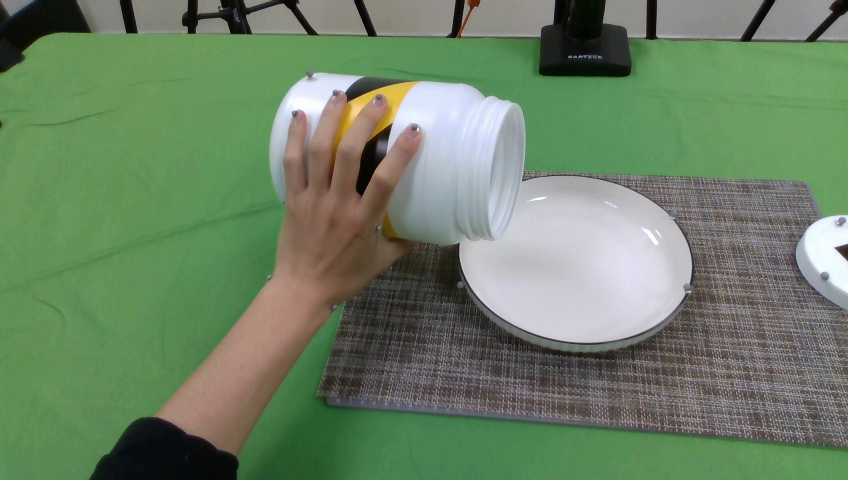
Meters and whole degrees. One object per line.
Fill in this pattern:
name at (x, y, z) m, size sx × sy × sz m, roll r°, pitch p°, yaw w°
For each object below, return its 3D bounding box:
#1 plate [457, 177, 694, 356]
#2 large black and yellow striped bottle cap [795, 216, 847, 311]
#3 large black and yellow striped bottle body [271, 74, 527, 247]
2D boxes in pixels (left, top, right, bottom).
plate at (0.134, 0.022, 0.554) m, size 0.207 × 0.039 × 0.205 m, roll -2°, pitch 46°, yaw 3°
large black and yellow striped bottle cap at (0.400, 0.023, 0.546) m, size 0.115 × 0.019 × 0.114 m, roll 0°, pitch 47°, yaw 0°
large black and yellow striped bottle body at (-0.017, -0.066, 0.505) m, size 0.183 × 0.132 × 0.130 m, roll 10°, pitch 48°, yaw 20°
